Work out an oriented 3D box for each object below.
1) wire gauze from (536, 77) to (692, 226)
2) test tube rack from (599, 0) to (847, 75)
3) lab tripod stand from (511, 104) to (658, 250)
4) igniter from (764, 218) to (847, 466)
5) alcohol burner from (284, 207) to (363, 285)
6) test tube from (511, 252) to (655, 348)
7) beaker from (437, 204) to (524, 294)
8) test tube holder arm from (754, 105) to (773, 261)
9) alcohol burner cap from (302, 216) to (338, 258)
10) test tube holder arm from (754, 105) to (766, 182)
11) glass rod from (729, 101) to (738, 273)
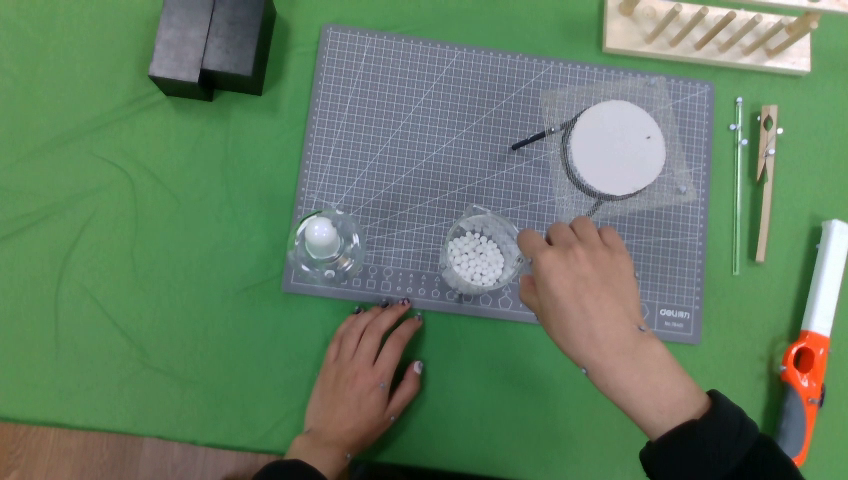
[{"bbox_3d":[0.167,-0.082,0.538,0.121,0.011,0.124,-9,82,-4],"label":"wire gauze"},{"bbox_3d":[0.326,-0.243,0.668,0.242,0.085,0.066,5,81,-3],"label":"test tube rack"},{"bbox_3d":[0.157,-0.071,0.603,0.148,0.132,0.148,0,82,-2],"label":"lab tripod stand"},{"bbox_3d":[0.415,0.109,0.654,0.057,0.025,0.275,20,81,-11],"label":"igniter"},{"bbox_3d":[-0.097,0.003,0.583,0.078,0.119,0.077,1,79,-4],"label":"alcohol burner"},{"bbox_3d":[0.142,0.055,0.536,0.150,0.017,0.017,31,80,-7],"label":"test tube"},{"bbox_3d":[0.050,0.014,0.600,0.074,0.100,0.083,-14,82,-6],"label":"beaker"},{"bbox_3d":[0.381,-0.065,0.678,0.013,0.015,0.178,2,80,30],"label":"test tube holder arm"},{"bbox_3d":[-0.096,-0.005,0.548,0.034,0.048,0.033,2,72,-6],"label":"alcohol burner cap"},{"bbox_3d":[0.381,-0.109,0.688,0.010,0.015,0.087,2,80,30],"label":"test tube holder arm"},{"bbox_3d":[0.349,-0.062,0.682,0.008,0.008,0.199,6,81,-4],"label":"glass rod"}]
